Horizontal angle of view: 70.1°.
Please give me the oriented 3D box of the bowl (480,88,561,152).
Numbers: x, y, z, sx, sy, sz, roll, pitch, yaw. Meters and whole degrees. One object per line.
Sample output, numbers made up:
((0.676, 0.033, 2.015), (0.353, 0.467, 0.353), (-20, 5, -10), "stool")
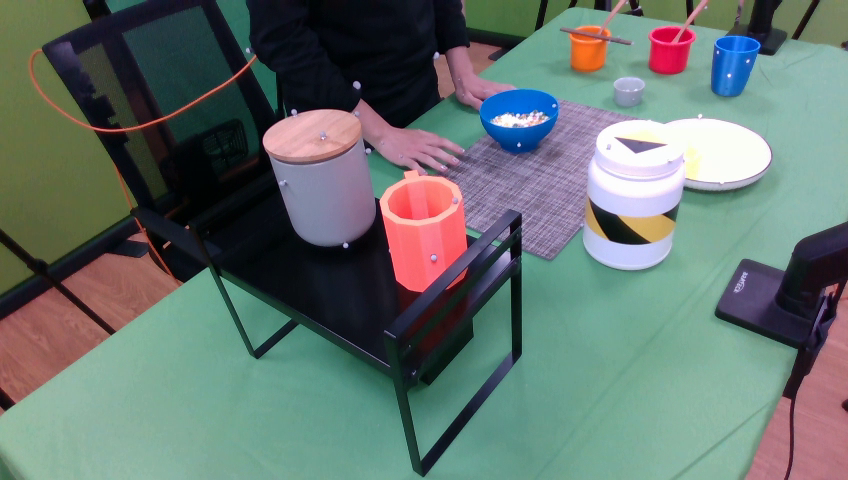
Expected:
((0.185, -0.222, 1.160), (0.151, 0.077, 0.150), (-4, 40, 4), "bowl")

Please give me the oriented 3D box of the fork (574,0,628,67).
((0.413, -0.481, 1.377), (0.207, 0.019, 0.028), (-56, 43, 12), "fork")

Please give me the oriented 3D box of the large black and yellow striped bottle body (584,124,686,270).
((0.304, -0.063, 0.880), (0.131, 0.185, 0.130), (-5, 41, 5), "large black and yellow striped bottle body")

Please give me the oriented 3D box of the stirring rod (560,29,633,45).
((0.381, -0.452, 1.345), (0.174, 0.006, 0.014), (25, 49, 33), "stirring rod")

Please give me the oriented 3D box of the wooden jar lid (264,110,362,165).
((-0.122, -0.112, 0.673), (0.108, 0.021, 0.108), (-4, 37, 4), "wooden jar lid")

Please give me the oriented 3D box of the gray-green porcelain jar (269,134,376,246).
((-0.115, -0.064, 0.715), (0.106, 0.127, 0.105), (-4, 40, 4), "gray-green porcelain jar")

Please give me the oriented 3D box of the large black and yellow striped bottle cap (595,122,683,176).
((0.293, -0.126, 0.826), (0.115, 0.019, 0.114), (-3, 40, 3), "large black and yellow striped bottle cap")

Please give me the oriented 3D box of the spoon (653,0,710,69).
((0.573, -0.459, 1.332), (0.041, 0.022, 0.193), (44, 105, 41), "spoon")

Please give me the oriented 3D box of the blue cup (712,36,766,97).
((0.627, -0.350, 1.227), (0.092, 0.100, 0.092), (-4, 39, 4), "blue cup")

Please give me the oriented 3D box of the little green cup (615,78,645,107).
((0.426, -0.306, 1.257), (0.061, 0.039, 0.061), (-5, 40, 4), "little green cup")

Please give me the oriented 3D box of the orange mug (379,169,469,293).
((-0.002, -0.019, 0.665), (0.083, 0.101, 0.125), (-12, 45, -4), "orange mug")

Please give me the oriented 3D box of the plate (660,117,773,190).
((0.495, -0.148, 1.063), (0.209, 0.038, 0.208), (-5, 40, 4), "plate")
